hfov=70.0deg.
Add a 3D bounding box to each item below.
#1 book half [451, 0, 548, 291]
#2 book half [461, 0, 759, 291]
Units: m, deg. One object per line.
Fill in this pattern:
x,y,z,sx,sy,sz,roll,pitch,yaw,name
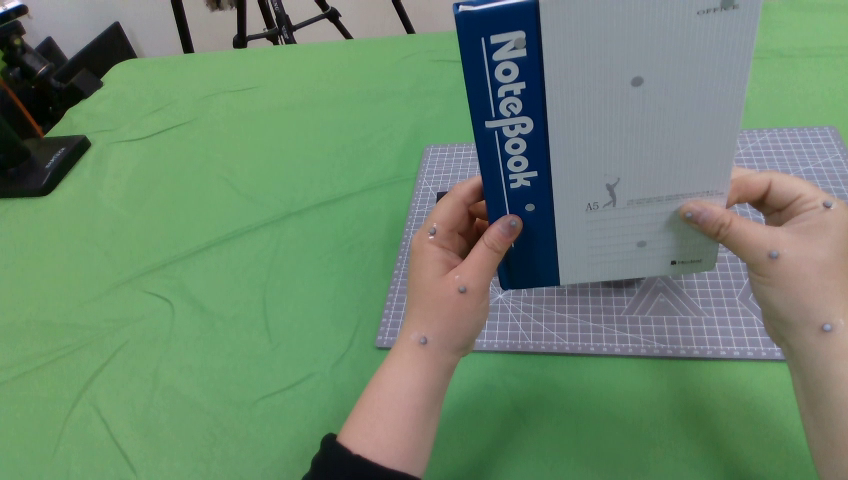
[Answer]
0.106,-0.051,0.367,0.148,0.212,0.016,-9,43,6,book half
0.108,-0.045,0.361,0.143,0.212,0.007,-6,43,10,book half
